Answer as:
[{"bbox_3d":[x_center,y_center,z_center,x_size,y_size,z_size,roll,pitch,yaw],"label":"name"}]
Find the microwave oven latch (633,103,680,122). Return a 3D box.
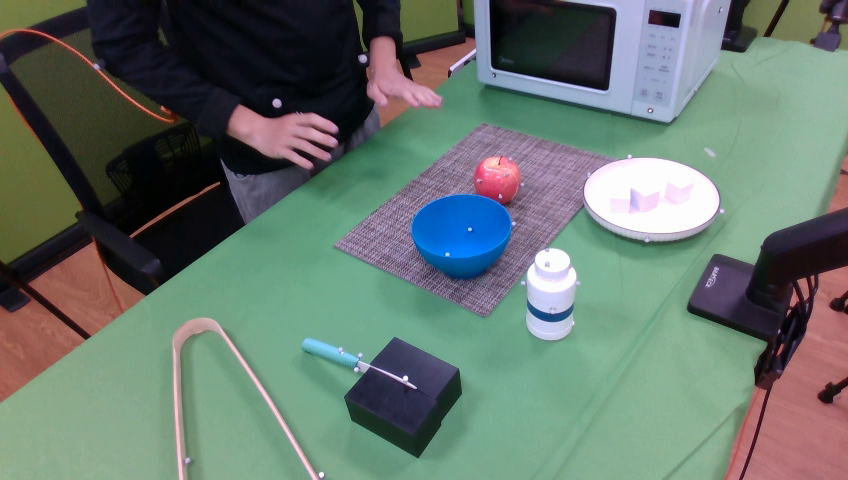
[{"bbox_3d":[0.444,-0.249,1.157,0.078,0.029,0.030,21,48,30],"label":"microwave oven latch"}]

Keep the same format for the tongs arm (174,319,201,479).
[{"bbox_3d":[-0.272,0.234,0.723,0.051,0.026,0.381,-19,40,-14],"label":"tongs arm"}]

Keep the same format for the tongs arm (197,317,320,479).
[{"bbox_3d":[-0.199,0.207,0.750,0.028,0.028,0.384,-31,45,-22],"label":"tongs arm"}]

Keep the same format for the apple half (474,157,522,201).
[{"bbox_3d":[0.130,-0.107,1.031,0.080,0.075,0.053,8,38,22],"label":"apple half"}]

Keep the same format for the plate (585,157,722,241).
[{"bbox_3d":[0.367,-0.063,0.979,0.207,0.039,0.206,-4,40,4],"label":"plate"}]

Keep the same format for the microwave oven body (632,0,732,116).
[{"bbox_3d":[0.377,-0.462,1.267,0.438,0.261,0.327,21,48,30],"label":"microwave oven body"}]

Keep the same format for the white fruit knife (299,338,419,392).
[{"bbox_3d":[-0.087,0.156,0.762,0.206,0.027,0.016,11,44,36],"label":"white fruit knife"}]

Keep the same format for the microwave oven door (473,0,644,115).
[{"bbox_3d":[0.257,-0.396,1.199,0.353,0.245,0.039,21,48,29],"label":"microwave oven door"}]

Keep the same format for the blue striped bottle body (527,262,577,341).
[{"bbox_3d":[0.165,0.070,0.786,0.063,0.121,0.063,-4,41,4],"label":"blue striped bottle body"}]

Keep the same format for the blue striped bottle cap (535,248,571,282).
[{"bbox_3d":[0.161,0.031,0.753,0.044,0.021,0.044,-4,42,4],"label":"blue striped bottle cap"}]

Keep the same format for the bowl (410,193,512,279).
[{"bbox_3d":[0.058,0.005,0.905,0.151,0.077,0.150,-4,40,4],"label":"bowl"}]

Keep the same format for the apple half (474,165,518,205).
[{"bbox_3d":[0.115,-0.084,1.005,0.081,0.081,0.033,11,41,20],"label":"apple half"}]
